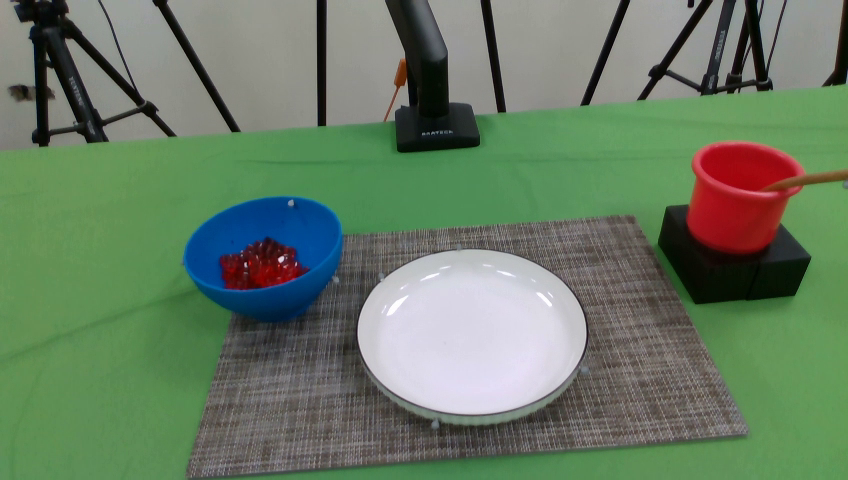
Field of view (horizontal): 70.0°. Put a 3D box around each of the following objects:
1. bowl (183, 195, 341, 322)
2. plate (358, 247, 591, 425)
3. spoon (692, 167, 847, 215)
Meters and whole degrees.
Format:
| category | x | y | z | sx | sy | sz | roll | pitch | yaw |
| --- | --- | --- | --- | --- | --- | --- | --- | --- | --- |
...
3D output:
| category | x | y | z | sx | sy | sz | roll | pitch | yaw |
| --- | --- | --- | --- | --- | --- | --- | --- | --- | --- |
| bowl | -0.153 | 0.029 | 0.609 | 0.151 | 0.077 | 0.150 | -2 | 39 | 2 |
| plate | 0.045 | 0.085 | 0.556 | 0.207 | 0.039 | 0.205 | -2 | 39 | 2 |
| spoon | 0.312 | -0.045 | 0.536 | 0.042 | 0.021 | 0.193 | -19 | -3 | -18 |
